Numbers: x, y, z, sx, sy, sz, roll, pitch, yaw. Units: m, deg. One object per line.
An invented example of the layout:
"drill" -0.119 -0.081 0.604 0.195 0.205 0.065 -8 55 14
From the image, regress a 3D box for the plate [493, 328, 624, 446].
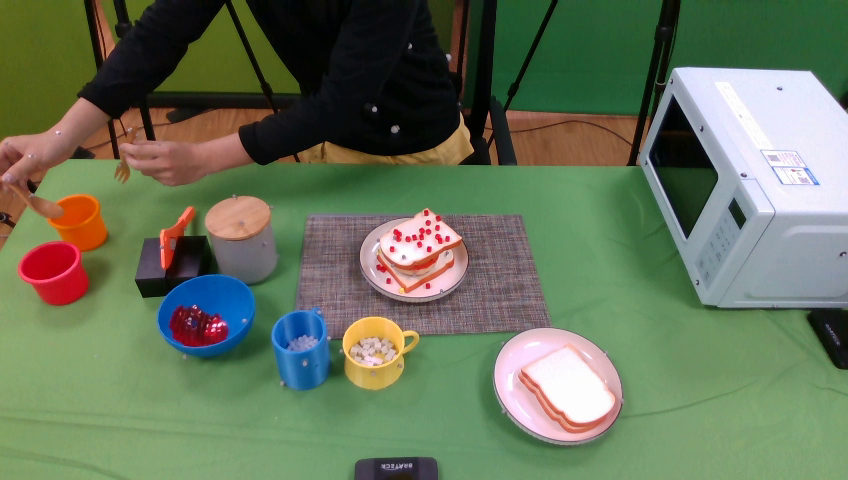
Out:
"plate" 0.213 0.236 0.974 0.208 0.039 0.206 2 46 -2

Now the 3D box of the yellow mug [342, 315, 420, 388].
"yellow mug" -0.068 0.177 0.990 0.131 0.064 0.099 -15 50 -19

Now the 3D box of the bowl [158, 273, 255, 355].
"bowl" -0.351 0.136 1.001 0.151 0.077 0.150 2 46 -2

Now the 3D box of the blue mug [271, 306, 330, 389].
"blue mug" -0.188 0.163 0.969 0.082 0.106 0.116 15 47 10

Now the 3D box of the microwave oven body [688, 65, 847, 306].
"microwave oven body" 0.669 -0.111 1.176 0.326 0.261 0.439 0 46 -3

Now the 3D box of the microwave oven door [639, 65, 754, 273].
"microwave oven door" 0.522 -0.147 1.193 0.039 0.245 0.353 0 47 -3

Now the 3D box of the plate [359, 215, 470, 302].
"plate" -0.019 0.038 1.140 0.209 0.038 0.208 2 46 -2

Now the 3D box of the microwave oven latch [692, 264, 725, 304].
"microwave oven latch" 0.522 0.081 1.116 0.030 0.029 0.078 1 46 -2

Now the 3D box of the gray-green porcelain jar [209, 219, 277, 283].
"gray-green porcelain jar" -0.323 0.007 1.092 0.106 0.127 0.105 2 46 -2

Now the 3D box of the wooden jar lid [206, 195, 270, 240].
"wooden jar lid" -0.319 -0.036 1.046 0.108 0.021 0.107 1 44 0

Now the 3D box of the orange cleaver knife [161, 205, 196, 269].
"orange cleaver knife" -0.454 -0.010 1.129 0.012 0.077 0.210 -2 20 -5

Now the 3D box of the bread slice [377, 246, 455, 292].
"bread slice" -0.010 0.034 1.150 0.131 0.019 0.104 -29 56 -23

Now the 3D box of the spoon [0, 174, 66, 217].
"spoon" -0.687 -0.094 0.996 0.021 0.195 0.041 -33 39 19

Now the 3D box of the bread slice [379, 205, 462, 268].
"bread slice" -0.012 -0.001 1.097 0.134 0.018 0.106 -33 51 -23

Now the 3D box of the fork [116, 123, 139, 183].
"fork" -0.523 -0.152 1.072 0.028 0.207 0.018 44 55 -9
